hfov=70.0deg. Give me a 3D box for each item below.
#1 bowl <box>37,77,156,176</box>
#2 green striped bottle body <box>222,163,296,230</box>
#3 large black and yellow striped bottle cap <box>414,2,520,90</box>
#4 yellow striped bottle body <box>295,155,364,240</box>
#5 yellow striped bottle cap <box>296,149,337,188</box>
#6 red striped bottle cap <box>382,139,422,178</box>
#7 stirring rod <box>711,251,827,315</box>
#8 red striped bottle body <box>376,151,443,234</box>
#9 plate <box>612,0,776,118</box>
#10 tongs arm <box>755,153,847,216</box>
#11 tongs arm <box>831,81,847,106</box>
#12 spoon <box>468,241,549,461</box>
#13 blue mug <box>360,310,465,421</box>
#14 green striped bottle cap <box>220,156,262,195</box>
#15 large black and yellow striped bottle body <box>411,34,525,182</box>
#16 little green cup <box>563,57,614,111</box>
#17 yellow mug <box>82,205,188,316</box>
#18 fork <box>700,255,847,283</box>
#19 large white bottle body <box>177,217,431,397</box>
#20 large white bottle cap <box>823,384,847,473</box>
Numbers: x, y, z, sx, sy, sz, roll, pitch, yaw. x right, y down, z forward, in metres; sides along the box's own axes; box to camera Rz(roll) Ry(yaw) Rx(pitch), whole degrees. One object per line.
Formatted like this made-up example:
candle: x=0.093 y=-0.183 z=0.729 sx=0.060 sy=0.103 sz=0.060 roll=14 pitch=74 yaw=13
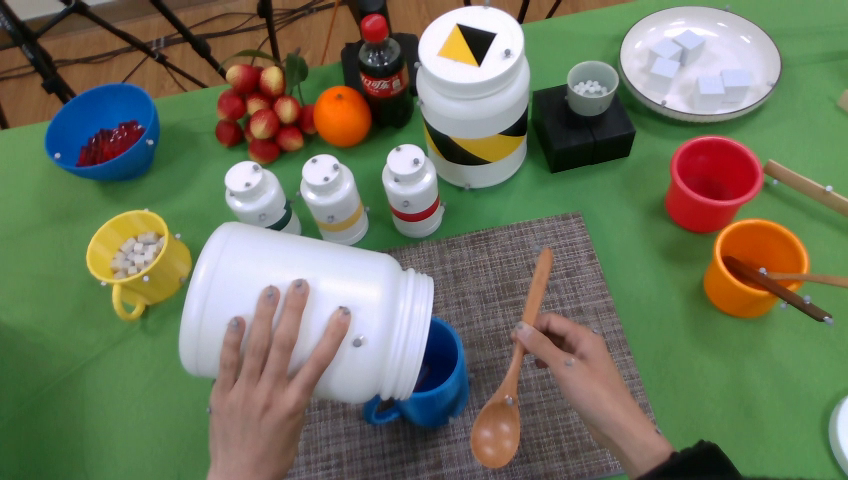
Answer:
bowl: x=-0.432 y=-0.142 z=0.834 sx=0.151 sy=0.077 sz=0.150 roll=-3 pitch=60 yaw=5
green striped bottle body: x=-0.200 y=-0.047 z=0.728 sx=0.063 sy=0.120 sz=0.062 roll=-3 pitch=60 yaw=5
large black and yellow striped bottle cap: x=0.046 y=-0.213 z=0.658 sx=0.115 sy=0.019 sz=0.114 roll=-4 pitch=62 yaw=8
yellow striped bottle body: x=-0.113 y=-0.055 z=0.723 sx=0.063 sy=0.121 sz=0.062 roll=-3 pitch=59 yaw=6
yellow striped bottle cap: x=-0.120 y=-0.080 z=0.677 sx=0.044 sy=0.019 sz=0.044 roll=-1 pitch=56 yaw=1
red striped bottle cap: x=-0.025 y=-0.091 z=0.672 sx=0.044 sy=0.018 sz=0.044 roll=-1 pitch=58 yaw=2
stirring rod: x=0.339 y=0.039 z=0.608 sx=0.014 sy=0.006 sz=0.175 roll=-9 pitch=16 yaw=-1
red striped bottle body: x=-0.018 y=-0.064 z=0.718 sx=0.063 sy=0.121 sz=0.062 roll=-6 pitch=57 yaw=10
plate: x=0.360 y=-0.243 z=0.824 sx=0.209 sy=0.038 sz=0.207 roll=-3 pitch=61 yaw=5
tongs arm: x=0.560 y=-0.006 z=0.666 sx=0.382 sy=0.027 sz=0.050 roll=37 pitch=67 yaw=23
tongs arm: x=0.629 y=-0.060 z=0.692 sx=0.028 sy=0.028 sz=0.383 roll=-26 pitch=61 yaw=-17
spoon: x=0.080 y=0.093 z=0.523 sx=0.041 sy=0.022 sz=0.193 roll=16 pitch=88 yaw=12
blue mug: x=-0.014 y=0.137 z=0.605 sx=0.116 sy=0.107 sz=0.081 roll=-37 pitch=62 yaw=-14
green striped bottle cap: x=-0.207 y=-0.073 z=0.683 sx=0.044 sy=0.020 sz=0.044 roll=-2 pitch=59 yaw=4
large black and yellow striped bottle body: x=0.055 y=-0.171 z=0.733 sx=0.130 sy=0.185 sz=0.129 roll=-3 pitch=60 yaw=5
little green cup: x=0.202 y=-0.193 z=0.754 sx=0.061 sy=0.039 sz=0.061 roll=-2 pitch=57 yaw=3
yellow mug: x=-0.352 y=0.029 z=0.734 sx=0.100 sy=0.064 sz=0.129 roll=-3 pitch=61 yaw=5
fork: x=0.369 y=0.034 z=0.599 sx=0.028 sy=0.019 sz=0.206 roll=-47 pitch=22 yaw=-18
large white bottle body: x=-0.095 y=0.060 z=0.513 sx=0.185 sy=0.131 sz=0.129 roll=12 pitch=61 yaw=-7
large white bottle cap: x=0.447 y=0.187 z=0.579 sx=0.115 sy=0.018 sz=0.114 roll=-3 pitch=60 yaw=5
